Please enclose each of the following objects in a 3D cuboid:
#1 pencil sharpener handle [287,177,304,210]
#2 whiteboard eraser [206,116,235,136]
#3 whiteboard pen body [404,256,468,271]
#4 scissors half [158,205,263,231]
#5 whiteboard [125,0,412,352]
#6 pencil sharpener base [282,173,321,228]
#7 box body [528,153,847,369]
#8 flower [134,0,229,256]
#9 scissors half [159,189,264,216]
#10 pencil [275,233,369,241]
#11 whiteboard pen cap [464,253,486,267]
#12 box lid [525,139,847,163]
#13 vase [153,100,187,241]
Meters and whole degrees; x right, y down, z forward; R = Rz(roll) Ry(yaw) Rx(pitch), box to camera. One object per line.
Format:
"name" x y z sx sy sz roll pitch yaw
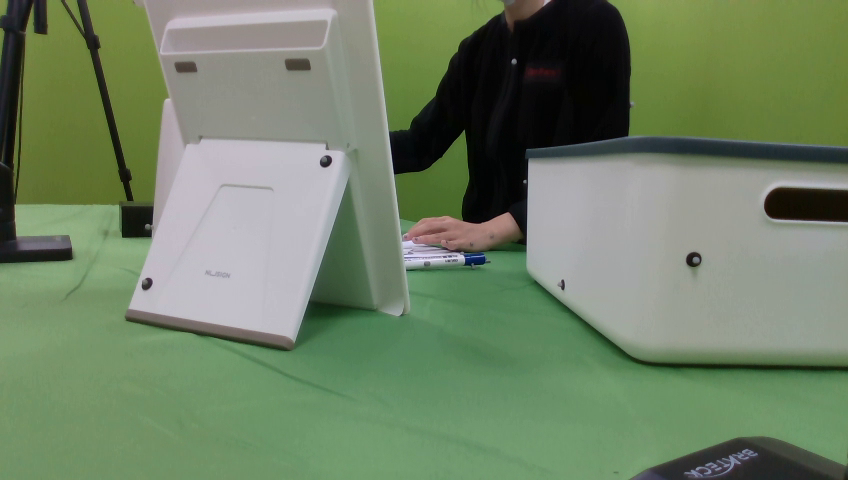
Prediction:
"pencil sharpener handle" -0.269 -0.096 1.257 0.036 0.067 0.030 -8 8 -27
"whiteboard eraser" -0.450 -0.252 1.335 0.056 0.042 0.112 1 7 -22
"whiteboard pen body" 0.013 0.030 0.792 0.141 0.017 0.017 -3 9 -24
"scissors half" -0.371 -0.042 1.062 0.176 0.040 0.012 8 5 -28
"whiteboard" -0.151 -0.049 0.472 0.216 0.305 0.144 6 27 24
"pencil sharpener base" -0.247 -0.080 1.212 0.061 0.107 0.076 -2 5 -28
"box body" 0.258 -0.005 0.591 0.254 0.160 0.363 2 7 -4
"flower" -0.282 -0.146 0.713 0.038 0.362 0.044 -23 24 -31
"scissors half" -0.370 -0.062 1.059 0.176 0.040 0.013 -11 8 -26
"pencil" -0.169 -0.006 1.036 0.195 0.012 0.012 -2 9 -45
"whiteboard pen cap" 0.066 0.027 0.818 0.033 0.018 0.018 -5 10 -24
"box lid" 0.261 -0.078 0.580 0.264 0.015 0.371 2 7 -4
"vase" -0.278 -0.066 0.736 0.098 0.200 0.098 2 9 0
